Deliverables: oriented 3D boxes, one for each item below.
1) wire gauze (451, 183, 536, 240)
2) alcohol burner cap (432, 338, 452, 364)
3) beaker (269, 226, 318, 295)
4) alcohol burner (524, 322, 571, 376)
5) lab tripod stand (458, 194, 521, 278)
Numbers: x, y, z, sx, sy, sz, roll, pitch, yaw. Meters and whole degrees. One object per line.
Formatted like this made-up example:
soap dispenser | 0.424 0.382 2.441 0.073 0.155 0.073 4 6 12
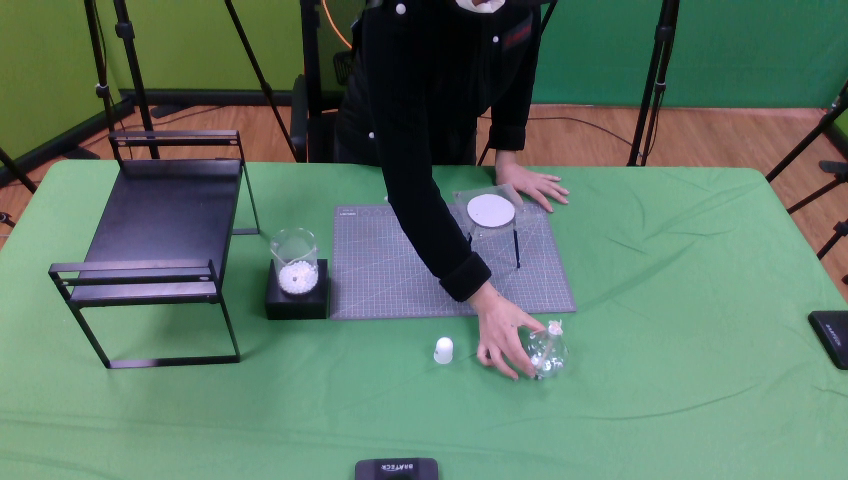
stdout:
wire gauze | 0.123 -0.057 1.087 0.121 0.011 0.124 -12 47 -14
alcohol burner cap | 0.032 0.182 1.011 0.034 0.048 0.033 4 45 -4
beaker | -0.218 0.040 1.020 0.074 0.101 0.083 6 47 2
alcohol burner | 0.204 0.170 0.986 0.078 0.119 0.077 3 47 -3
lab tripod stand | 0.116 -0.011 1.136 0.148 0.132 0.147 1 45 -1
